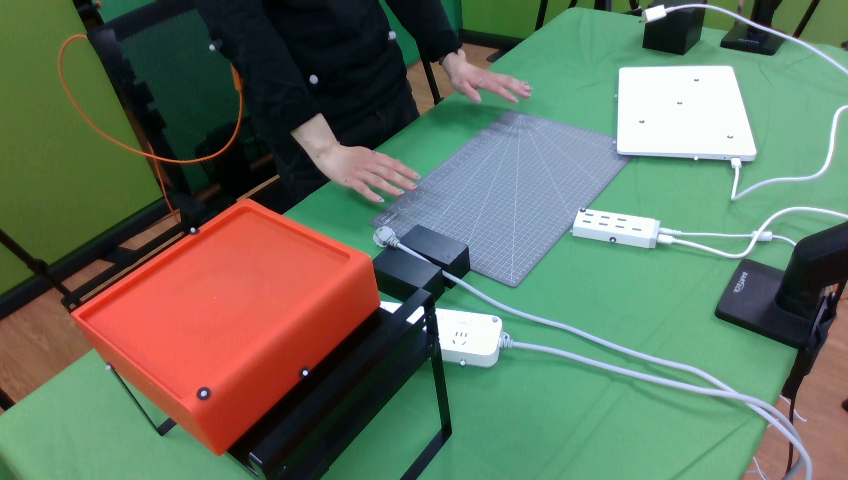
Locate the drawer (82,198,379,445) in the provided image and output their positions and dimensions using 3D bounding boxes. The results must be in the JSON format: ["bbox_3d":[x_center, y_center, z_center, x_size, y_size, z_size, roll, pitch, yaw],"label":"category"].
[{"bbox_3d":[-0.185,0.066,0.600,0.193,0.073,0.212,24,50,31],"label":"drawer"}]

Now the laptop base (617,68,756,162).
[{"bbox_3d":[0.507,-0.256,1.204,0.235,0.023,0.353,3,41,15],"label":"laptop base"}]

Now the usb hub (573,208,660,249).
[{"bbox_3d":[0.302,-0.019,0.949,0.124,0.025,0.049,11,43,20],"label":"usb hub"}]

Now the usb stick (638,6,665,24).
[{"bbox_3d":[0.503,-0.499,1.347,0.059,0.027,0.021,-21,5,-1],"label":"usb stick"}]

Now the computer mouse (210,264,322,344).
[{"bbox_3d":[-0.164,0.062,0.625,0.116,0.041,0.063,22,45,27],"label":"computer mouse"}]

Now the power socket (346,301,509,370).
[{"bbox_3d":[-0.001,0.126,0.817,0.226,0.033,0.072,7,43,15],"label":"power socket"}]

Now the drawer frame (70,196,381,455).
[{"bbox_3d":[-0.186,0.068,0.597,0.200,0.083,0.214,23,49,30],"label":"drawer frame"}]

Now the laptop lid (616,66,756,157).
[{"bbox_3d":[0.503,-0.265,1.196,0.241,0.013,0.356,5,41,16],"label":"laptop lid"}]

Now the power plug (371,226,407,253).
[{"bbox_3d":[-0.054,0.009,0.930,0.035,0.053,0.072,-34,64,-5],"label":"power plug"}]
